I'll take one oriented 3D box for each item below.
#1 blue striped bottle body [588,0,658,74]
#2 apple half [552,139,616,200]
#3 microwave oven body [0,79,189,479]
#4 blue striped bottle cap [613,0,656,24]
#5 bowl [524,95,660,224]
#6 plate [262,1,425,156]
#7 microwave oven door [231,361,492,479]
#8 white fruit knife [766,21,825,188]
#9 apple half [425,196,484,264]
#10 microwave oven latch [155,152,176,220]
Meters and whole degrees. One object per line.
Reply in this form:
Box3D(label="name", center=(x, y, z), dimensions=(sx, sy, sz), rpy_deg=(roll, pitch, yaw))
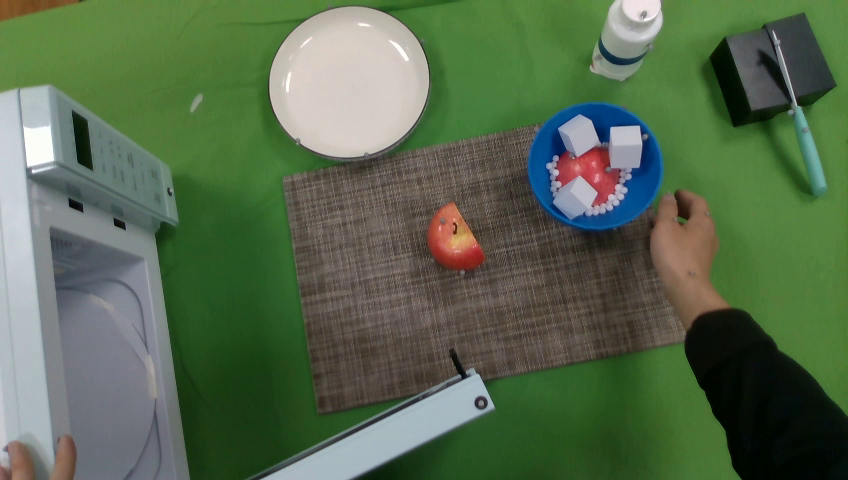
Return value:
Box3D(label="blue striped bottle body", center=(0.240, -0.255, 0.728), dimensions=(0.063, 0.121, 0.063), rpy_deg=(-1, 79, 4))
Box3D(label="apple half", center=(0.192, -0.086, 0.714), dimensions=(0.081, 0.033, 0.081), rpy_deg=(-1, 80, 4))
Box3D(label="microwave oven body", center=(-0.443, 0.118, 0.628), dimensions=(0.326, 0.261, 0.439), rpy_deg=(-13, 80, 0))
Box3D(label="blue striped bottle cap", center=(0.236, -0.266, 0.678), dimensions=(0.044, 0.021, 0.044), rpy_deg=(0, 82, 3))
Box3D(label="bowl", center=(0.192, -0.086, 0.720), dimensions=(0.151, 0.077, 0.151), rpy_deg=(-1, 81, 4))
Box3D(label="plate", center=(-0.102, -0.204, 0.782), dimensions=(0.207, 0.039, 0.207), rpy_deg=(0, 80, 3))
Box3D(label="microwave oven door", center=(-0.102, 0.211, 0.587), dimensions=(0.356, 0.245, 0.039), rpy_deg=(-26, 78, -1))
Box3D(label="white fruit knife", center=(0.437, -0.159, 0.717), dimensions=(0.016, 0.027, 0.207), rpy_deg=(-20, 96, 17))
Box3D(label="apple half", center=(0.030, -0.005, 0.717), dimensions=(0.053, 0.075, 0.080), rpy_deg=(-32, 83, 3))
Box3D(label="microwave oven latch", center=(-0.331, -0.067, 0.752), dimensions=(0.030, 0.029, 0.079), rpy_deg=(-13, 80, 0))
